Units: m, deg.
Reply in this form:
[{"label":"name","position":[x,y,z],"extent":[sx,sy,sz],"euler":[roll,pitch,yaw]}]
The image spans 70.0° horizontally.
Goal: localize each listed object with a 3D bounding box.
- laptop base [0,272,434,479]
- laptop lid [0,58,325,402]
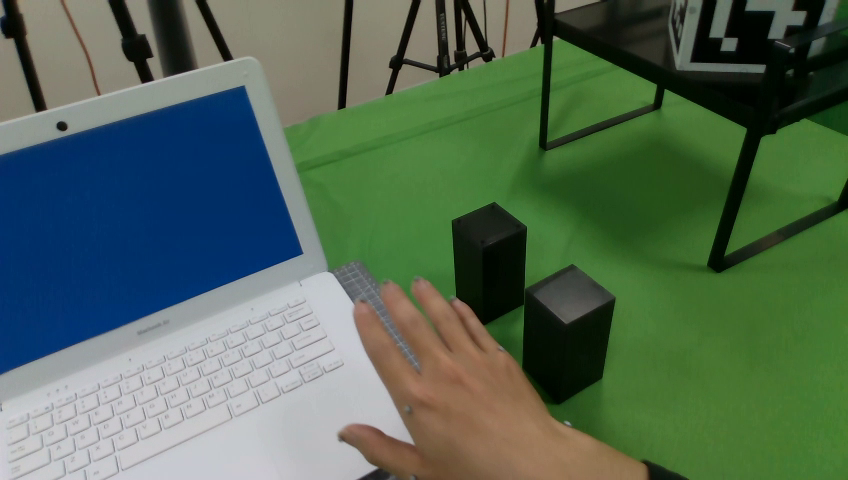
[{"label":"laptop base","position":[-0.197,0.162,0.513],"extent":[0.355,0.023,0.233],"euler":[-23,45,-20]},{"label":"laptop lid","position":[-0.283,-0.004,0.547],"extent":[0.357,0.243,0.013],"euler":[-24,24,-20]}]
